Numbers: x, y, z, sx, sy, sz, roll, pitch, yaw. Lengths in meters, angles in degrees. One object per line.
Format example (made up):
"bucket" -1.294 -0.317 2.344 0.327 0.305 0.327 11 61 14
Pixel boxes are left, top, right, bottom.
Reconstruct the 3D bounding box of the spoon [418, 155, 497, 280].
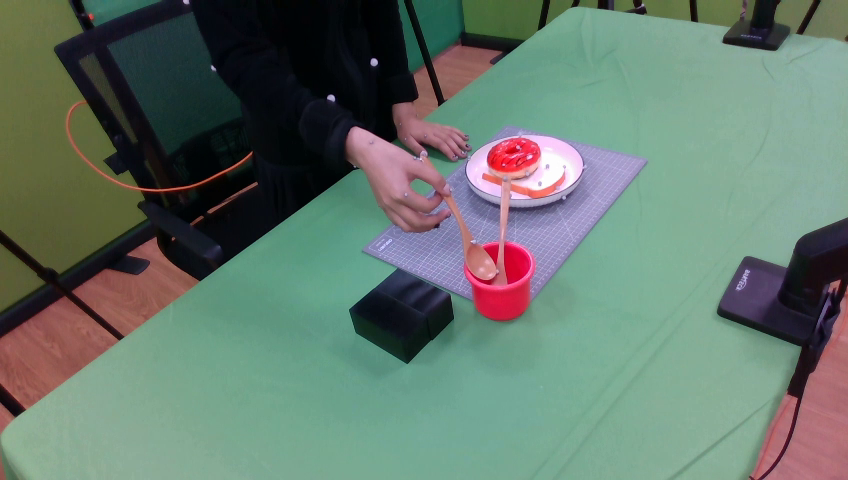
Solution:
"spoon" 0.045 -0.031 0.819 0.042 0.194 0.021 -31 8 -27

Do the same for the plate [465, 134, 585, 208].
"plate" 0.178 -0.120 1.075 0.209 0.038 0.208 -5 40 5

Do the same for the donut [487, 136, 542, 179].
"donut" 0.159 -0.147 1.068 0.099 0.048 0.098 -9 39 8

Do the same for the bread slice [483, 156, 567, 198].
"bread slice" 0.187 -0.120 1.077 0.130 0.019 0.105 27 53 37

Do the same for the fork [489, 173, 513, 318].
"fork" 0.112 0.006 0.853 0.028 0.019 0.207 4 84 14
